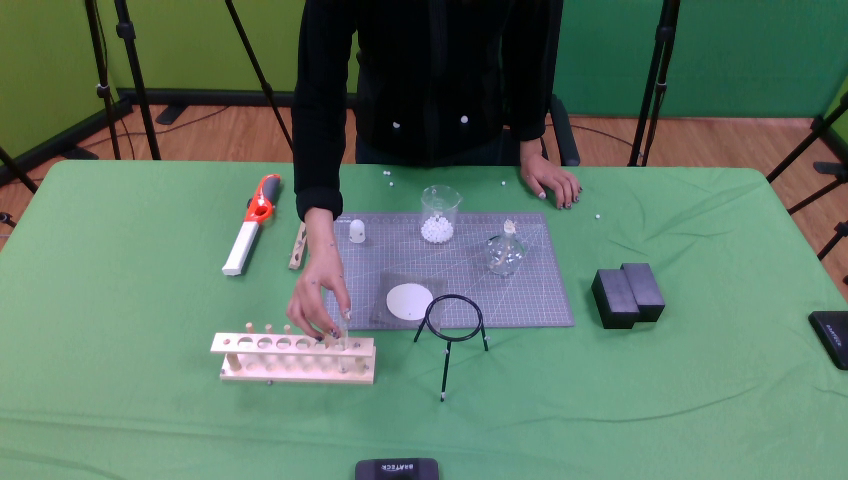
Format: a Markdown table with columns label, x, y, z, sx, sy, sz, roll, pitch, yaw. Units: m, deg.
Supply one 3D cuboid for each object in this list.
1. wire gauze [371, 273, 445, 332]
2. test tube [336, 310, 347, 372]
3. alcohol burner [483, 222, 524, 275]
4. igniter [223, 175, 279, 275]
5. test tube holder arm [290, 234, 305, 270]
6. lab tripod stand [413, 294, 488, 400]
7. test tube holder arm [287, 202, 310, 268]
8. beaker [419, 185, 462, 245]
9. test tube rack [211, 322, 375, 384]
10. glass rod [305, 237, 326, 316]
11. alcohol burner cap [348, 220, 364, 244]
| label | x | y | z | sx | sy | sz | roll | pitch | yaw |
| --- | --- | --- | --- | --- | --- | --- | --- | --- | --- |
| wire gauze | -0.028 | 0.109 | 1.099 | 0.125 | 0.011 | 0.121 | 8 | 45 | 4 |
| test tube | -0.125 | 0.157 | 0.924 | 0.017 | 0.151 | 0.017 | 4 | 46 | -4 |
| alcohol burner | 0.152 | 0.010 | 1.136 | 0.078 | 0.119 | 0.077 | 4 | 46 | -4 |
| igniter | -0.341 | -0.039 | 1.206 | 0.057 | 0.025 | 0.275 | -1 | 45 | 8 |
| test tube holder arm | -0.242 | 0.021 | 1.164 | 0.010 | 0.015 | 0.087 | 29 | 39 | -24 |
| lab tripod stand | 0.045 | 0.159 | 0.972 | 0.148 | 0.132 | 0.147 | 3 | 44 | -2 |
| test tube holder arm | -0.246 | -0.013 | 1.193 | 0.013 | 0.015 | 0.177 | 28 | 39 | -25 |
| beaker | 0.029 | -0.047 | 1.191 | 0.084 | 0.101 | 0.073 | -5 | 47 | -10 |
| test tube rack | -0.203 | 0.176 | 0.969 | 0.242 | 0.085 | 0.066 | 3 | 46 | -2 |
| glass rod | -0.202 | 0.064 | 1.131 | 0.008 | 0.008 | 0.198 | 4 | 44 | 0 |
| alcohol burner cap | -0.134 | -0.019 | 1.190 | 0.034 | 0.048 | 0.033 | 2 | 46 | -2 |
